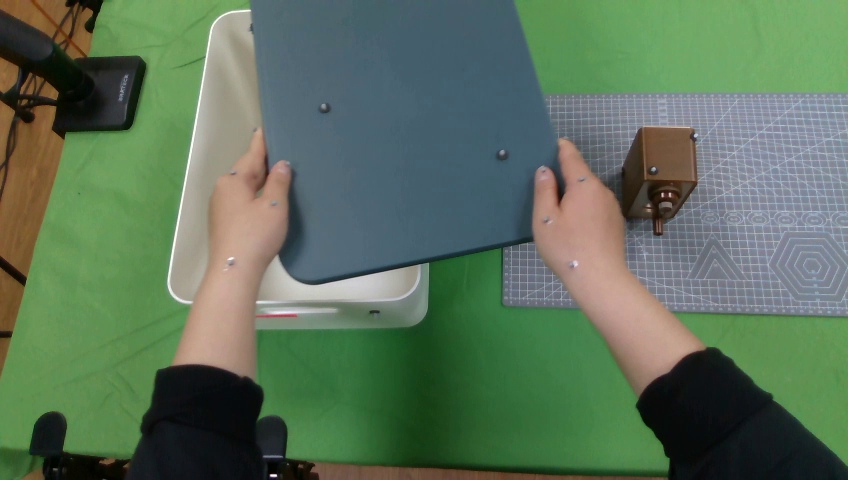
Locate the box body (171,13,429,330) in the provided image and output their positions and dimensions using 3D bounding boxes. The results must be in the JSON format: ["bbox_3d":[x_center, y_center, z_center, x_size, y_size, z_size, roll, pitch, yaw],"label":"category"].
[{"bbox_3d":[-0.121,-0.078,0.723,0.254,0.161,0.361,-2,69,5],"label":"box body"}]

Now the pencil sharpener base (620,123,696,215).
[{"bbox_3d":[0.271,-0.077,0.710,0.061,0.108,0.076,1,70,7],"label":"pencil sharpener base"}]

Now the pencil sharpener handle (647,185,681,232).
[{"bbox_3d":[0.270,-0.034,0.680,0.036,0.068,0.030,-3,69,19],"label":"pencil sharpener handle"}]

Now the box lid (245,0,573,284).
[{"bbox_3d":[-0.029,-0.151,0.580,0.263,0.015,0.368,-11,68,-3],"label":"box lid"}]
